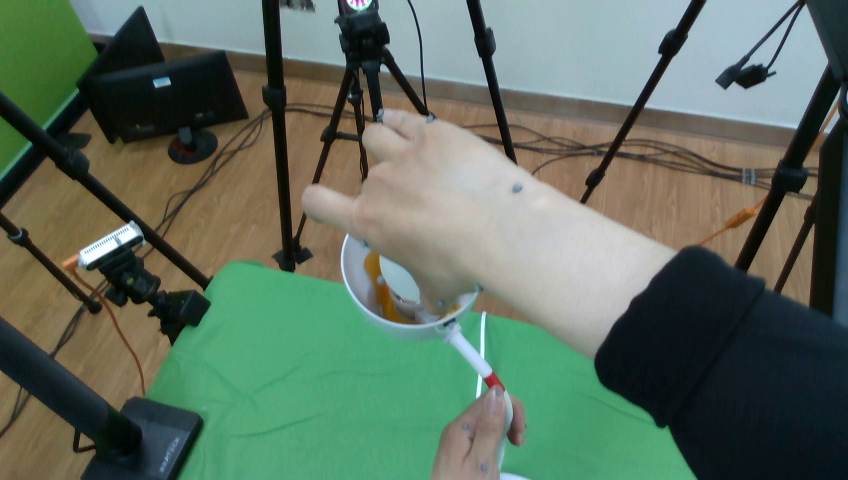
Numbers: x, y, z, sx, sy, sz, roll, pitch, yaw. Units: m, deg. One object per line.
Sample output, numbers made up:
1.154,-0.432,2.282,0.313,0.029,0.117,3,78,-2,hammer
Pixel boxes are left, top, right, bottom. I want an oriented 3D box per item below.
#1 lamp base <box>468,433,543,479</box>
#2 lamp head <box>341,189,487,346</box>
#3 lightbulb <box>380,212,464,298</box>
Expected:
0.091,0.293,0.653,0.161,0.182,0.177,-22,53,-13,lamp base
-0.005,0.036,0.505,0.112,0.124,0.111,-1,61,3,lamp head
-0.004,0.019,0.447,0.059,0.108,0.059,2,69,-6,lightbulb
